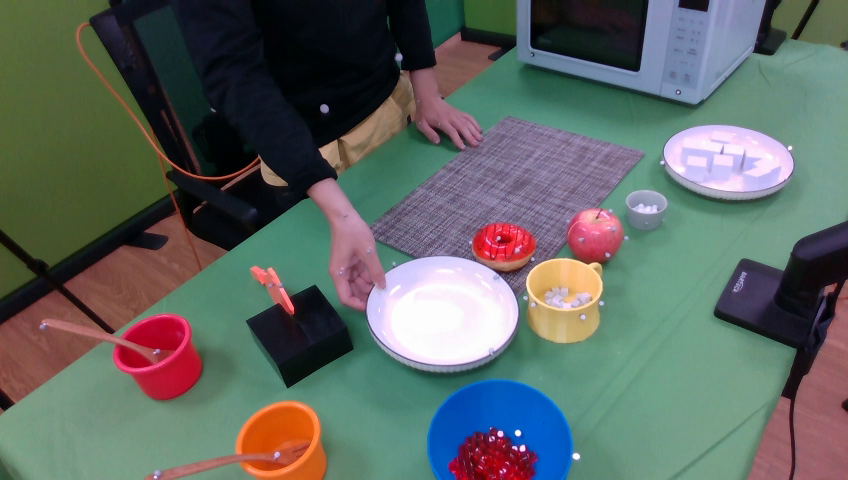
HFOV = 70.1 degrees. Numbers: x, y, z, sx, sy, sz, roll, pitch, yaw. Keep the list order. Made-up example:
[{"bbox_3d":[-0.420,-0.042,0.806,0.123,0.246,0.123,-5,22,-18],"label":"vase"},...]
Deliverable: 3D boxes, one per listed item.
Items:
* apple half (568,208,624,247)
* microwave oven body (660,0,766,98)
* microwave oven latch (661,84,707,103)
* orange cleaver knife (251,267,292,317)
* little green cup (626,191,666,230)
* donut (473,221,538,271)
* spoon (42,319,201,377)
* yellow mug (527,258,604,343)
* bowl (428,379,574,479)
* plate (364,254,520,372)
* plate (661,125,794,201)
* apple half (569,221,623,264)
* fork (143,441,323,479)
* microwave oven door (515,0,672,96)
[{"bbox_3d":[0.259,-0.014,0.914,0.080,0.075,0.053,0,36,15],"label":"apple half"},{"bbox_3d":[0.472,-0.513,1.317,0.438,0.261,0.327,26,51,34],"label":"microwave oven body"},{"bbox_3d":[0.517,-0.296,1.204,0.078,0.029,0.030,27,52,35],"label":"microwave oven latch"},{"bbox_3d":[-0.221,0.071,0.873,0.012,0.077,0.210,-25,10,-21],"label":"orange cleaver knife"},{"bbox_3d":[0.352,-0.046,0.963,0.061,0.039,0.061,-4,40,4],"label":"little green cup"},{"bbox_3d":[0.124,0.009,0.923,0.099,0.048,0.098,-4,38,3],"label":"donut"},{"bbox_3d":[-0.385,0.135,0.779,0.195,0.021,0.041,29,37,-26],"label":"spoon"},{"bbox_3d":[0.201,0.073,0.825,0.131,0.064,0.099,-32,46,-27],"label":"yellow mug"},{"bbox_3d":[0.082,0.233,0.644,0.151,0.077,0.150,-4,39,4],"label":"bowl"},{"bbox_3d":[0.025,0.099,0.816,0.209,0.038,0.208,1,39,0],"label":"plate"},{"bbox_3d":[0.513,-0.128,1.035,0.207,0.039,0.206,-4,40,4],"label":"plate"},{"bbox_3d":[0.251,0.010,0.884,0.081,0.081,0.032,3,37,12],"label":"apple half"},{"bbox_3d":[-0.189,0.231,0.631,0.028,0.018,0.209,35,12,37],"label":"fork"},{"bbox_3d":[0.343,-0.454,1.259,0.353,0.245,0.039,26,51,33],"label":"microwave oven door"}]
